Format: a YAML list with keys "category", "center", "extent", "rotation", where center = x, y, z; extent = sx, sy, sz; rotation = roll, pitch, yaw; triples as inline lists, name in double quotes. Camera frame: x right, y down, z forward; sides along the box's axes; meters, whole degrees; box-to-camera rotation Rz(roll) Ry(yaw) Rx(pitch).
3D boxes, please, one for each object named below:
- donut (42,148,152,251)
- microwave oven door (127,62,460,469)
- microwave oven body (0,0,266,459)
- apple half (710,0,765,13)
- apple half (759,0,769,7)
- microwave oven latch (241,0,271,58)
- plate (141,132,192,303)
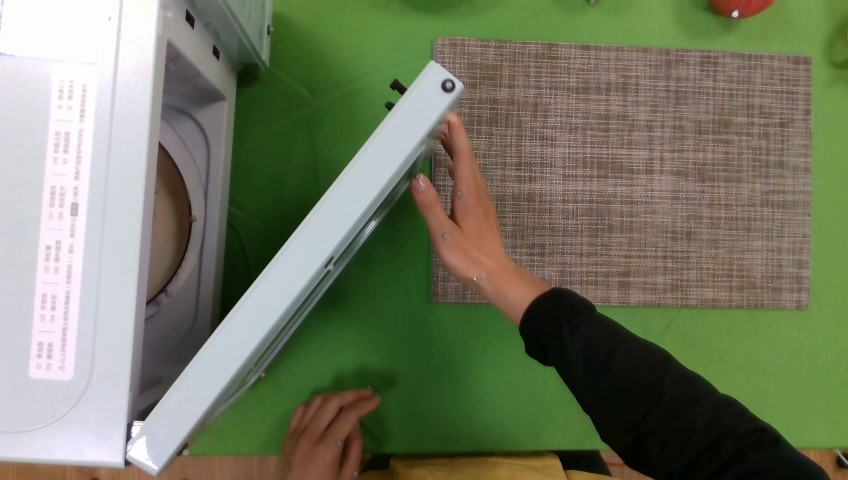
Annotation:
- category: "donut"
  center: [-0.309, -0.037, 0.575]
  extent: [0.099, 0.048, 0.099]
  rotation: [0, 96, -3]
- category: "microwave oven door"
  center: [-0.099, 0.017, 0.544]
  extent: [0.039, 0.243, 0.355]
  rotation: [38, 87, -1]
- category: "microwave oven body"
  center: [-0.332, -0.072, 0.531]
  extent: [0.326, 0.260, 0.441]
  rotation: [4, 90, -5]
- category: "apple half"
  center: [0.347, -0.297, 0.682]
  extent: [0.053, 0.074, 0.081]
  rotation: [-7, 93, 1]
- category: "apple half"
  center: [0.386, -0.303, 0.683]
  extent: [0.033, 0.081, 0.081]
  rotation: [-7, 90, 1]
- category: "microwave oven latch"
  center: [-0.179, -0.237, 0.639]
  extent: [0.030, 0.029, 0.079]
  rotation: [8, 90, -5]
- category: "plate"
  center: [-0.328, -0.026, 0.579]
  extent: [0.209, 0.038, 0.209]
  rotation: [0, 91, -7]
